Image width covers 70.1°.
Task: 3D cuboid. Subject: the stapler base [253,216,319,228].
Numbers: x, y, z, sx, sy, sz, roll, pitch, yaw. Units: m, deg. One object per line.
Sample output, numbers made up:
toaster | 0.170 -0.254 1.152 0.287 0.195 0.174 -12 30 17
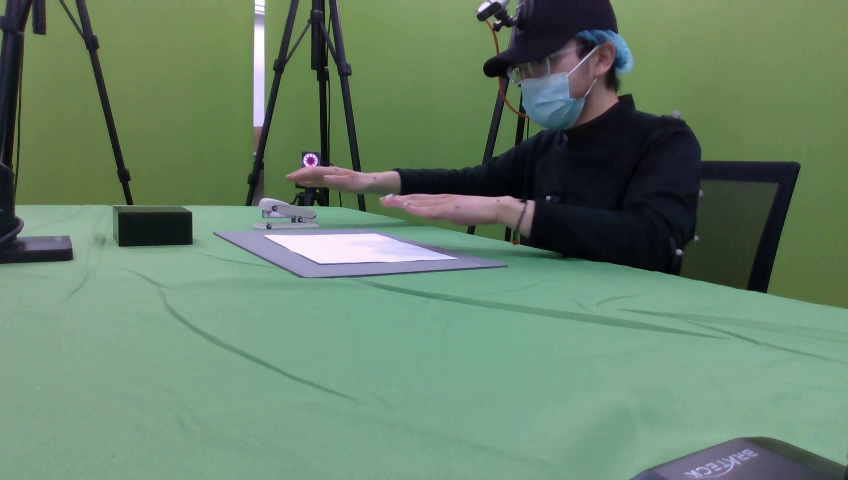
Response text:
stapler base | -0.274 -0.037 1.203 0.131 0.024 0.041 -1 11 -40

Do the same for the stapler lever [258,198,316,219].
stapler lever | -0.271 -0.062 1.201 0.119 0.040 0.026 -1 11 -40
